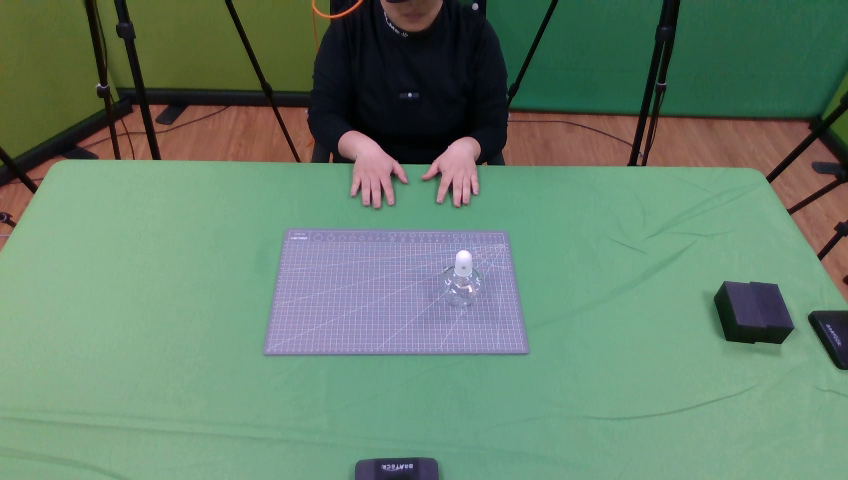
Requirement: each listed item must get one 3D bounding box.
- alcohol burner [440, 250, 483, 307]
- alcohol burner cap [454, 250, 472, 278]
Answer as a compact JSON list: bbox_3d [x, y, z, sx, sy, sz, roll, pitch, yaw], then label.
[{"bbox_3d":[0.068,0.064,1.076,0.078,0.120,0.077,1,45,-1],"label":"alcohol burner"},{"bbox_3d":[0.068,0.039,1.049,0.034,0.048,0.033,-2,45,2],"label":"alcohol burner cap"}]
